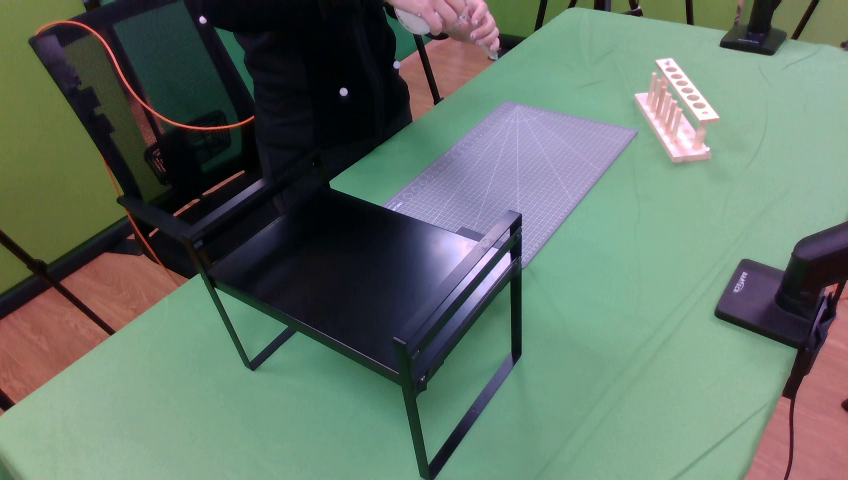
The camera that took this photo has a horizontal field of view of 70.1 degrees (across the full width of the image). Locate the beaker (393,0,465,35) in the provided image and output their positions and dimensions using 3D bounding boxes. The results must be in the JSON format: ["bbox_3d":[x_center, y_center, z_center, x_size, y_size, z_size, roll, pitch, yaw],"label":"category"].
[{"bbox_3d":[0.011,-0.350,0.876,0.073,0.084,0.100,24,59,31],"label":"beaker"}]

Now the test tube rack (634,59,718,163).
[{"bbox_3d":[0.470,-0.250,1.148,0.067,0.085,0.241,-6,40,3],"label":"test tube rack"}]

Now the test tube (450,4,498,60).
[{"bbox_3d":[0.084,-0.336,0.985,0.017,0.151,0.017,-10,70,29],"label":"test tube"}]
